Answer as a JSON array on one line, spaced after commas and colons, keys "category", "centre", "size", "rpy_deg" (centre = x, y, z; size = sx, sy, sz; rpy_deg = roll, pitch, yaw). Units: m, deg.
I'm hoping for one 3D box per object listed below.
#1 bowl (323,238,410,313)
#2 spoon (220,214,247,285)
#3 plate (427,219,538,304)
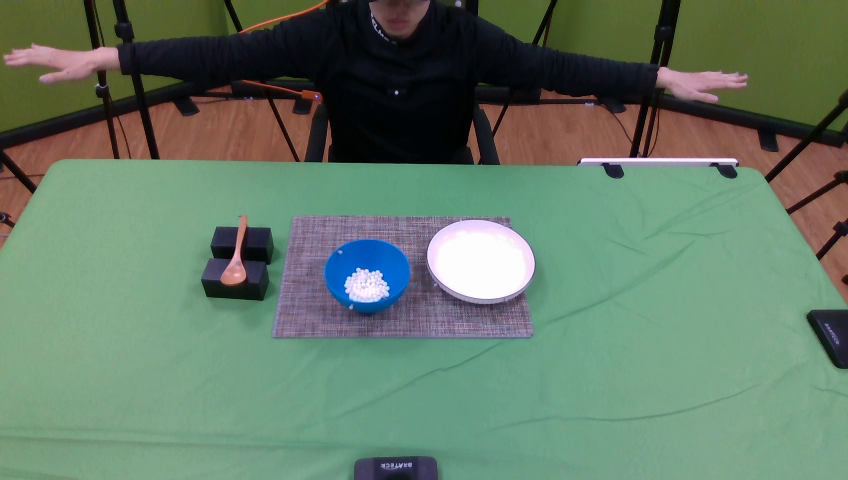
[{"category": "bowl", "centre": [-0.101, 0.077, 1.073], "size": [0.151, 0.077, 0.150], "rpy_deg": [2, 46, -2]}, {"category": "spoon", "centre": [-0.334, 0.014, 1.094], "size": [0.041, 0.022, 0.192], "rpy_deg": [-1, 45, -6]}, {"category": "plate", "centre": [0.109, 0.044, 1.149], "size": [0.208, 0.039, 0.206], "rpy_deg": [2, 46, -2]}]
